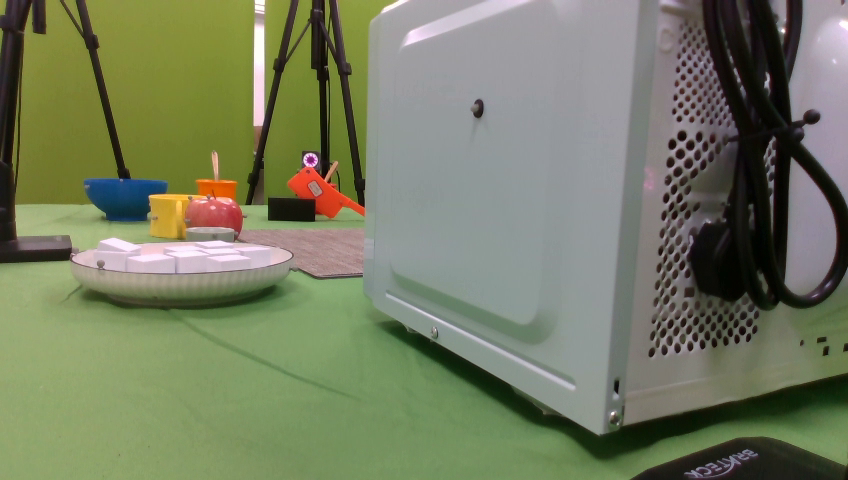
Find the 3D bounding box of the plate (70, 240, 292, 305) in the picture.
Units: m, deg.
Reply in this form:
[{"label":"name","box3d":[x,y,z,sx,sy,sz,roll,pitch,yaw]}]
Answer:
[{"label":"plate","box3d":[-0.242,0.031,0.618,0.208,0.039,0.207,2,8,0]}]

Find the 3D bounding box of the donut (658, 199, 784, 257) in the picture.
[{"label":"donut","box3d":[0.252,-0.010,0.517,0.099,0.048,0.099,3,5,0]}]

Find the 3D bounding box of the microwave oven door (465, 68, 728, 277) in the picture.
[{"label":"microwave oven door","box3d":[0.207,-0.096,0.814,0.354,0.243,0.039,9,11,41]}]

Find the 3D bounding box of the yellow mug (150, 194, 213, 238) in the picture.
[{"label":"yellow mug","box3d":[-0.401,-0.040,1.003,0.100,0.064,0.130,-1,9,-20]}]

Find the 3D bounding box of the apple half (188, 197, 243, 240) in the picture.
[{"label":"apple half","box3d":[-0.305,-0.026,0.907,0.053,0.074,0.081,12,8,31]}]

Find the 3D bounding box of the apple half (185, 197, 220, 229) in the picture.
[{"label":"apple half","box3d":[-0.338,-0.031,0.927,0.032,0.081,0.081,12,12,31]}]

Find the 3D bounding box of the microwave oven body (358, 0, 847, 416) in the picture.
[{"label":"microwave oven body","box3d":[0.210,-0.047,0.475,0.444,0.260,0.324,-1,7,-28]}]

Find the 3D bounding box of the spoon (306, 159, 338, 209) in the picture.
[{"label":"spoon","box3d":[-0.257,-0.147,1.567,0.041,0.022,0.193,2,50,20]}]

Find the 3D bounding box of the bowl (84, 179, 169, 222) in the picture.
[{"label":"bowl","box3d":[-0.584,-0.078,1.194,0.151,0.077,0.151,3,8,0]}]

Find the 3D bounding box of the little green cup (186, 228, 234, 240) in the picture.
[{"label":"little green cup","box3d":[-0.284,0.005,0.805,0.061,0.038,0.061,2,8,0]}]

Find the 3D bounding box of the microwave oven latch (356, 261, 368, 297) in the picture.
[{"label":"microwave oven latch","box3d":[-0.020,0.033,0.530,0.079,0.029,0.030,-1,7,-27]}]

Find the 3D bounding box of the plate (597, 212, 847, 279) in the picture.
[{"label":"plate","box3d":[0.255,0.002,0.519,0.209,0.038,0.209,2,7,0]}]

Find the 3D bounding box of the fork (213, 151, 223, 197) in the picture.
[{"label":"fork","box3d":[-0.494,-0.143,1.442,0.028,0.018,0.206,-2,52,-20]}]

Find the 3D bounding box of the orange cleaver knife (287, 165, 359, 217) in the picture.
[{"label":"orange cleaver knife","box3d":[-0.211,-0.093,1.382,0.212,0.077,0.012,33,1,-15]}]
